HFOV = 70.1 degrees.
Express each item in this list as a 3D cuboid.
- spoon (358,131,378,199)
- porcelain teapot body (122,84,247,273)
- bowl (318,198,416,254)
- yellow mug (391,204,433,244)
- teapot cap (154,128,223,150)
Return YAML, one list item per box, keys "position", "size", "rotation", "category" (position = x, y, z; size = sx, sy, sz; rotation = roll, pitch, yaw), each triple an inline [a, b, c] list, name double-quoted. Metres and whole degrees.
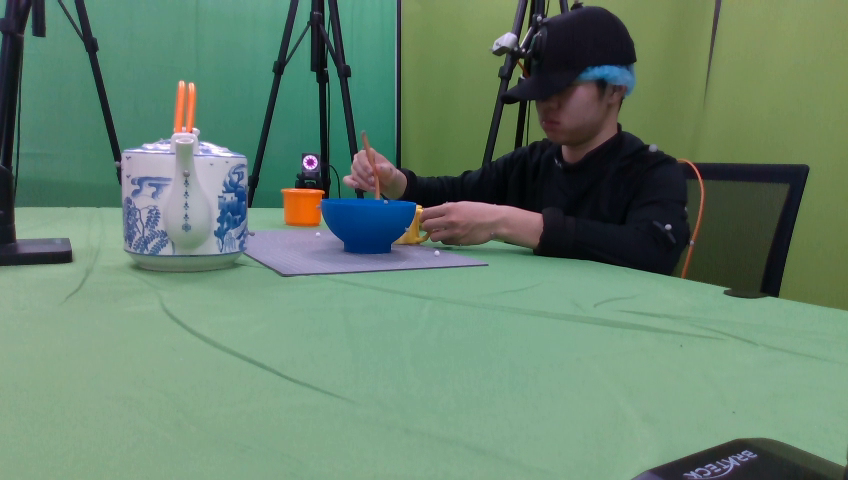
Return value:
- position: [-0.091, -0.100, 1.082]
  size: [0.021, 0.193, 0.041]
  rotation: [-11, 2, -2]
  category: "spoon"
- position: [-0.286, -0.074, 0.734]
  size: [0.146, 0.225, 0.204]
  rotation: [0, 9, -24]
  category: "porcelain teapot body"
- position: [-0.089, -0.022, 0.941]
  size: [0.151, 0.077, 0.151]
  rotation: [2, 7, 0]
  category: "bowl"
- position: [-0.042, -0.030, 1.070]
  size: [0.130, 0.064, 0.100]
  rotation: [8, 9, 27]
  category: "yellow mug"
- position: [-0.294, -0.117, 0.754]
  size: [0.085, 0.044, 0.085]
  rotation: [4, 9, 0]
  category: "teapot cap"
